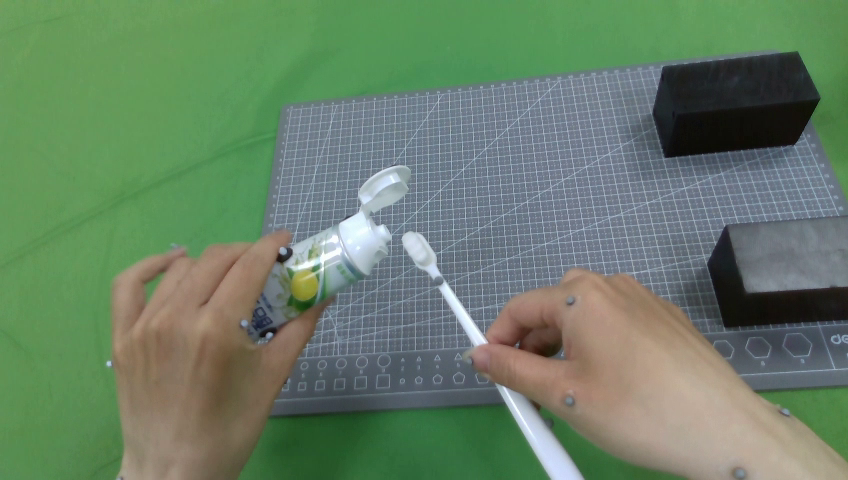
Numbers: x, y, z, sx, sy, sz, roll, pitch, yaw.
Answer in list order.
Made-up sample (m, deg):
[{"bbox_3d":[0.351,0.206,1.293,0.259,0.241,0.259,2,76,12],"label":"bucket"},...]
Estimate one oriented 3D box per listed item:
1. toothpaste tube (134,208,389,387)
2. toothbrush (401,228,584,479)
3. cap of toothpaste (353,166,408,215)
[{"bbox_3d":[-0.094,0.029,0.360,0.165,0.034,0.055,-29,92,8],"label":"toothpaste tube"},{"bbox_3d":[0.037,0.066,0.322,0.014,0.017,0.180,-34,72,4],"label":"toothbrush"},{"bbox_3d":[-0.024,-0.029,0.353,0.037,0.037,0.011,-29,68,-8],"label":"cap of toothpaste"}]
